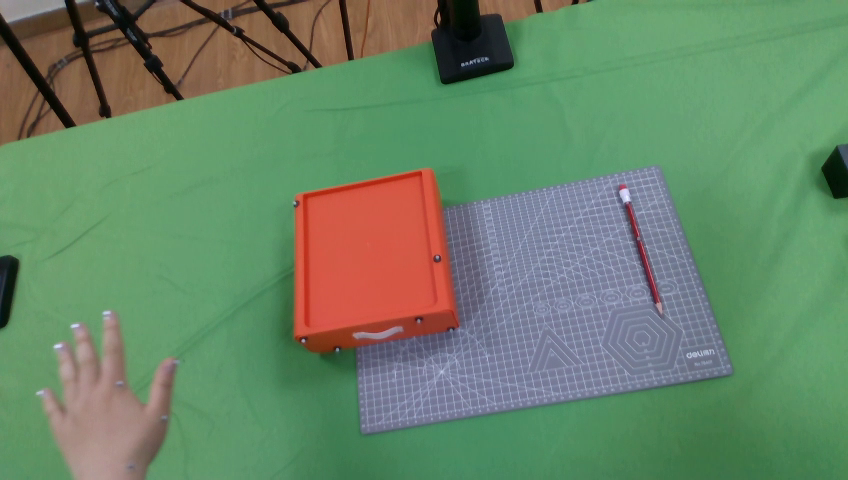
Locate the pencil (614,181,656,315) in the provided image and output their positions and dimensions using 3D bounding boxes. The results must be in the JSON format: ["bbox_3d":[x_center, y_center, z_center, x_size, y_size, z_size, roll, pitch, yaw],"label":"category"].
[{"bbox_3d":[0.276,0.007,0.791,0.012,0.012,0.192,-10,65,6],"label":"pencil"}]

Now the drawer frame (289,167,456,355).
[{"bbox_3d":[-0.073,0.029,0.805,0.201,0.083,0.211,-12,61,6],"label":"drawer frame"}]

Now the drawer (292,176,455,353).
[{"bbox_3d":[-0.071,0.031,0.805,0.194,0.074,0.210,-11,61,6],"label":"drawer"}]
